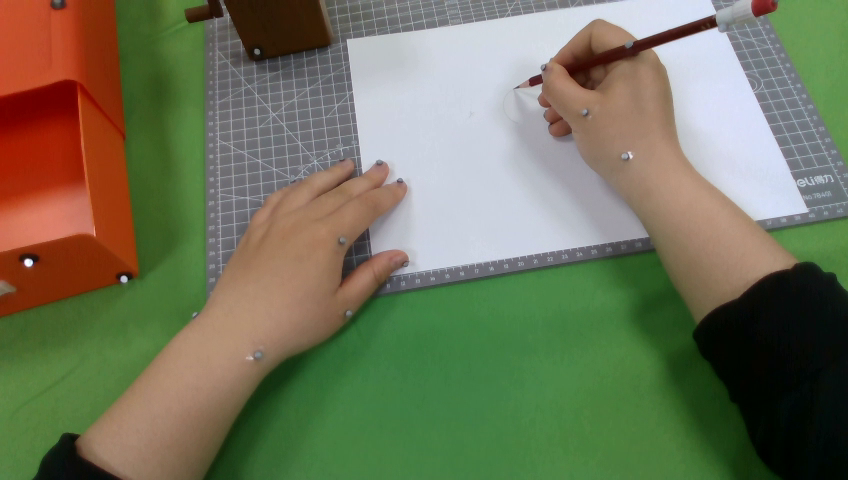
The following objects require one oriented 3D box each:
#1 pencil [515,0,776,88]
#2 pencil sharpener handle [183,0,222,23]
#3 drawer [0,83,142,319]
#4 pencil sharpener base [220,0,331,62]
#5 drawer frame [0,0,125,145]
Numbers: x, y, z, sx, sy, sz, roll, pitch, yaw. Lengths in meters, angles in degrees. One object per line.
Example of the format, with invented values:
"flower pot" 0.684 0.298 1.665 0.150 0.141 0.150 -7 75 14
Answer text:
"pencil" 0.122 -0.118 0.381 0.012 0.193 0.012 0 89 -33
"pencil sharpener handle" -0.169 -0.186 0.437 0.030 0.068 0.035 -15 63 -3
"drawer" -0.312 -0.047 0.412 0.194 0.074 0.210 -17 66 -4
"pencil sharpener base" -0.119 -0.194 0.451 0.077 0.108 0.061 -15 65 -3
"drawer frame" -0.347 -0.148 0.459 0.202 0.083 0.211 -17 65 -4
